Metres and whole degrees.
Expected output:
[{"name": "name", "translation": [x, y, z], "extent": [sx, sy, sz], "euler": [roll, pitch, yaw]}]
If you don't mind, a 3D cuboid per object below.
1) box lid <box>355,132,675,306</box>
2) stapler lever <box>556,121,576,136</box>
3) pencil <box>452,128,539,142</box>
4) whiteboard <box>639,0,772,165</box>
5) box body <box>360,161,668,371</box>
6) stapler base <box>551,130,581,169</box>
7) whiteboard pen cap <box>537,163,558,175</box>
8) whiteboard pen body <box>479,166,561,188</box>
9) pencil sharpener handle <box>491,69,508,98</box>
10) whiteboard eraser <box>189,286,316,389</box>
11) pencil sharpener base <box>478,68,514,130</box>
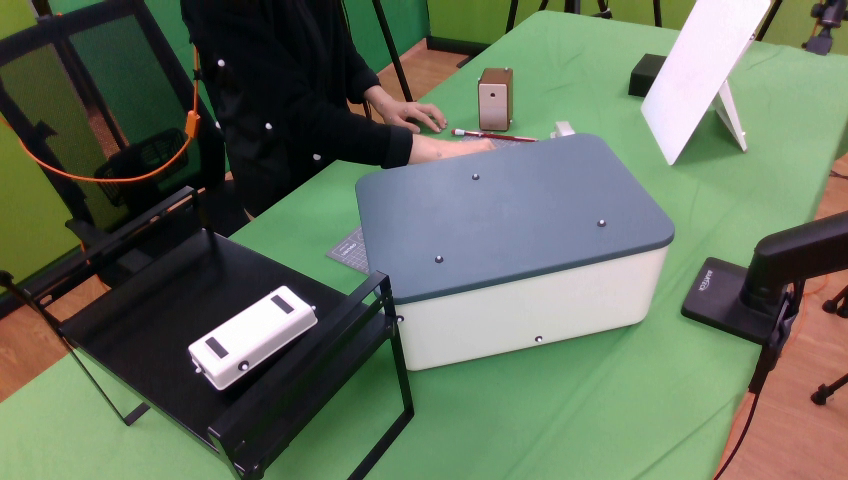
[{"name": "box lid", "translation": [0.103, -0.042, 0.785], "extent": [0.372, 0.015, 0.261], "euler": [-12, 41, -5]}, {"name": "stapler lever", "translation": [0.266, -0.198, 1.128], "extent": [0.027, 0.040, 0.117], "euler": [0, 38, 3]}, {"name": "pencil", "translation": [0.146, -0.207, 1.205], "extent": [0.193, 0.012, 0.012], "euler": [10, 43, 19]}, {"name": "whiteboard", "translation": [0.543, -0.298, 1.076], "extent": [0.144, 0.305, 0.216], "euler": [12, 40, -7]}, {"name": "box body", "translation": [0.108, 0.014, 0.833], "extent": [0.365, 0.161, 0.252], "euler": [-11, 41, -5]}, {"name": "stapler base", "translation": [0.268, -0.178, 1.142], "extent": [0.041, 0.024, 0.130], "euler": [0, 37, 3]}, {"name": "whiteboard pen cap", "translation": [0.211, -0.121, 1.035], "extent": [0.033, 0.018, 0.018], "euler": [-16, 41, -19]}, {"name": "whiteboard pen body", "translation": [0.160, -0.106, 1.002], "extent": [0.141, 0.017, 0.017], "euler": [-12, 41, -4]}, {"name": "pencil sharpener handle", "translation": [0.155, -0.329, 1.254], "extent": [0.036, 0.068, 0.030], "euler": [17, 43, 3]}, {"name": "whiteboard eraser", "translation": [-0.166, 0.096, 0.593], "extent": [0.113, 0.042, 0.055], "euler": [-36, 47, -29]}, {"name": "pencil sharpener base", "translation": [0.148, -0.286, 1.224], "extent": [0.061, 0.107, 0.076], "euler": [5, 41, 15]}]
